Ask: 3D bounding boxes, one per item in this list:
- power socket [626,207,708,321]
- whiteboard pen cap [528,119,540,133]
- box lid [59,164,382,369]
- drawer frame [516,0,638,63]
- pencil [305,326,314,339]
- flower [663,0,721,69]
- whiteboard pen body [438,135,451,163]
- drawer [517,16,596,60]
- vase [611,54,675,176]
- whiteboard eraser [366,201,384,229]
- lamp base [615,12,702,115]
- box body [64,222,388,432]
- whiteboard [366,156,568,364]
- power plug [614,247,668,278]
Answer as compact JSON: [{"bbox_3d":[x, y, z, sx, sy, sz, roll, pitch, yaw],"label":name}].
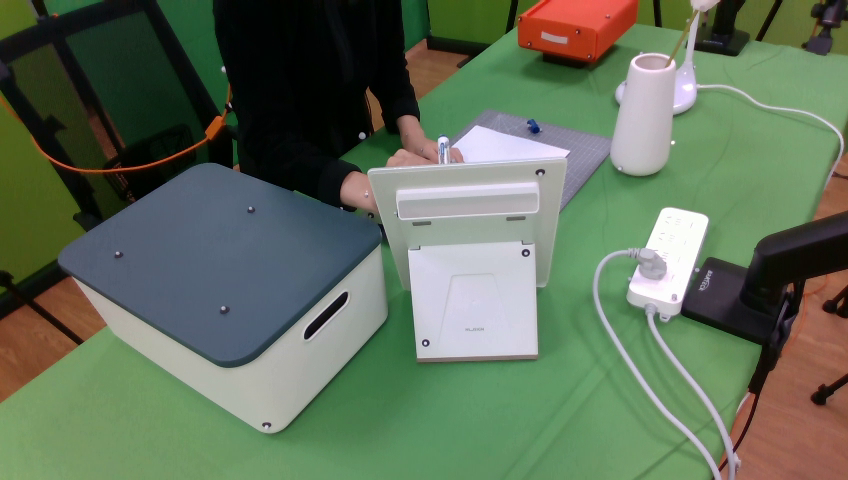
[{"bbox_3d":[0.359,0.025,0.886,0.072,0.033,0.227,16,46,26],"label":"power socket"},{"bbox_3d":[0.221,-0.229,1.211,0.018,0.018,0.033,-13,40,-7],"label":"whiteboard pen cap"},{"bbox_3d":[-0.263,0.010,0.777,0.368,0.015,0.264,20,47,29],"label":"box lid"},{"bbox_3d":[0.355,-0.508,1.410,0.200,0.083,0.214,23,51,32],"label":"drawer frame"},{"bbox_3d":[-0.187,0.106,0.880,0.012,0.012,0.192,-27,41,-22],"label":"pencil"},{"bbox_3d":[0.379,-0.261,0.965,0.044,0.362,0.038,20,53,5],"label":"flower"},{"bbox_3d":[0.027,-0.084,0.787,0.017,0.017,0.140,-4,54,4],"label":"whiteboard pen body"},{"bbox_3d":[0.353,-0.506,1.405,0.193,0.073,0.212,23,49,32],"label":"drawer"},{"bbox_3d":[0.377,-0.209,1.031,0.098,0.201,0.097,-3,40,3],"label":"vase"},{"bbox_3d":[-0.038,-0.038,1.006,0.112,0.042,0.055,17,47,25],"label":"whiteboard eraser"},{"bbox_3d":[0.484,-0.363,1.211,0.180,0.181,0.159,-15,41,-14],"label":"lamp base"},{"bbox_3d":[-0.256,0.065,0.827,0.361,0.161,0.255,20,48,29],"label":"box body"},{"bbox_3d":[0.059,0.050,0.738,0.217,0.307,0.143,-2,60,6],"label":"whiteboard"},{"bbox_3d":[0.306,0.031,0.851,0.072,0.053,0.035,24,49,33],"label":"power plug"}]
